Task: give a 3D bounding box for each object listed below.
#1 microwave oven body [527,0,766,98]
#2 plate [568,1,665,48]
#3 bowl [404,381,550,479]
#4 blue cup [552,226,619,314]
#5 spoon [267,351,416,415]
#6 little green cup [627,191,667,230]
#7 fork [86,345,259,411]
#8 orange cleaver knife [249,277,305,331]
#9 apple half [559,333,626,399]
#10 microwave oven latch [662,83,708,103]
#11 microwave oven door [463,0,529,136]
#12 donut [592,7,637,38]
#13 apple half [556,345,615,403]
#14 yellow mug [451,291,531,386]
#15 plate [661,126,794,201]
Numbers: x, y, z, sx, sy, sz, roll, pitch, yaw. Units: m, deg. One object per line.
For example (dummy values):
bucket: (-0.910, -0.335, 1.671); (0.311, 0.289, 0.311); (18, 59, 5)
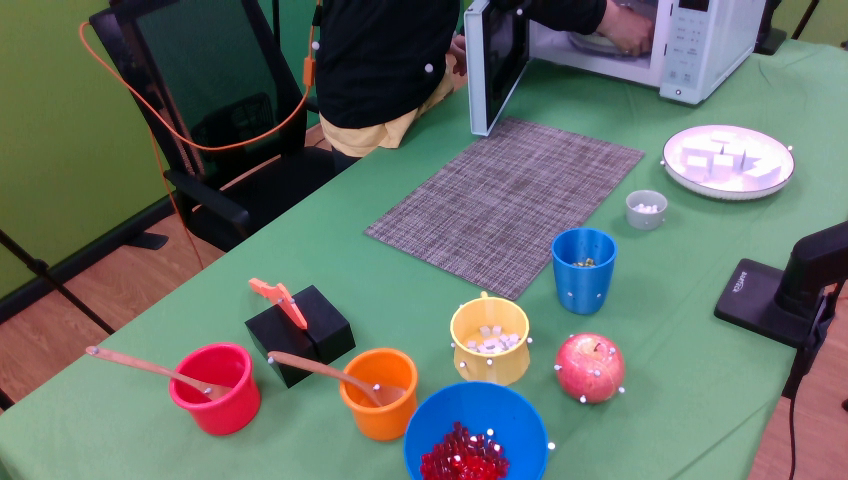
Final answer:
microwave oven body: (0.472, -0.513, 1.317); (0.438, 0.261, 0.327); (26, 51, 34)
plate: (0.429, -0.481, 1.358); (0.209, 0.038, 0.208); (-2, 42, 2)
bowl: (0.058, 0.235, 0.645); (0.151, 0.077, 0.150); (-4, 39, 4)
blue cup: (0.218, 0.047, 0.825); (0.092, 0.101, 0.092); (-6, 40, 5)
spoon: (-0.091, 0.162, 0.699); (0.021, 0.195, 0.041); (-45, 30, 26)
little green cup: (0.352, -0.046, 0.963); (0.061, 0.039, 0.061); (-4, 40, 4)
fork: (-0.298, 0.166, 0.728); (0.209, 0.018, 0.028); (28, 46, -23)
orange cleaver knife: (-0.210, 0.088, 0.855); (0.012, 0.077, 0.210); (-28, 15, -25)
apple half: (0.209, 0.147, 0.730); (0.080, 0.075, 0.053); (26, 48, 38)
microwave oven latch: (0.519, -0.297, 1.204); (0.078, 0.029, 0.030); (29, 53, 36)
microwave oven door: (0.156, -0.410, 1.236); (0.039, 0.245, 0.355); (10, 43, 19)
donut: (0.424, -0.487, 1.348); (0.099, 0.048, 0.098); (-9, 37, 8)
apple half: (0.181, 0.167, 0.709); (0.080, 0.081, 0.033); (29, 50, 35)
yellow mug: (0.085, 0.120, 0.786); (0.100, 0.064, 0.130); (-7, 39, 1)
plate: (0.514, -0.128, 1.035); (0.207, 0.039, 0.206); (-4, 40, 4)
